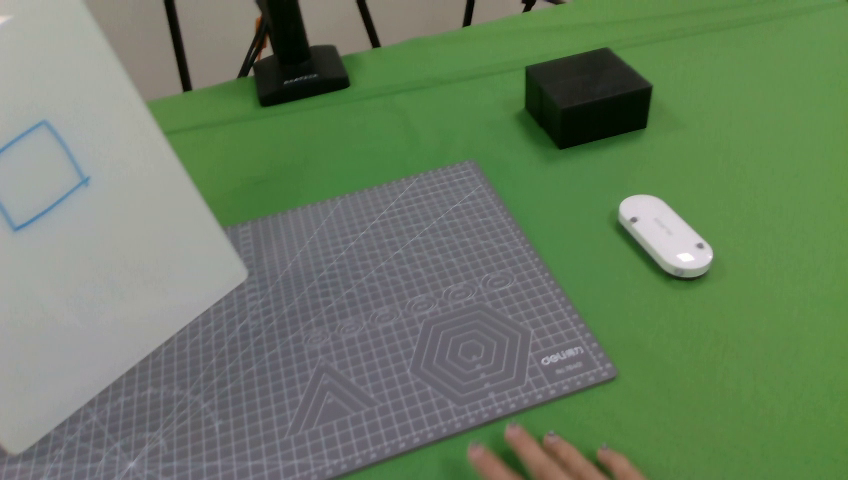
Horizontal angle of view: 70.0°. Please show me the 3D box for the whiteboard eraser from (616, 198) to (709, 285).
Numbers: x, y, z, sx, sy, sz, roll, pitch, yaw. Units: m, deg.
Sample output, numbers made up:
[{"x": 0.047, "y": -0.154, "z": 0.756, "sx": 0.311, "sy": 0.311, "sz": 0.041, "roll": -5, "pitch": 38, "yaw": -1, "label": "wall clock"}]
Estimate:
[{"x": 0.202, "y": -0.002, "z": 0.520, "sx": 0.041, "sy": 0.019, "sz": 0.100, "roll": -16, "pitch": 43, "yaw": -10, "label": "whiteboard eraser"}]

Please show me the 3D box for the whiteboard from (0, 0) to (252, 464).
[{"x": -0.322, "y": -0.032, "z": 0.467, "sx": 0.143, "sy": 0.308, "sz": 0.217, "roll": 8, "pitch": 41, "yaw": 47, "label": "whiteboard"}]
